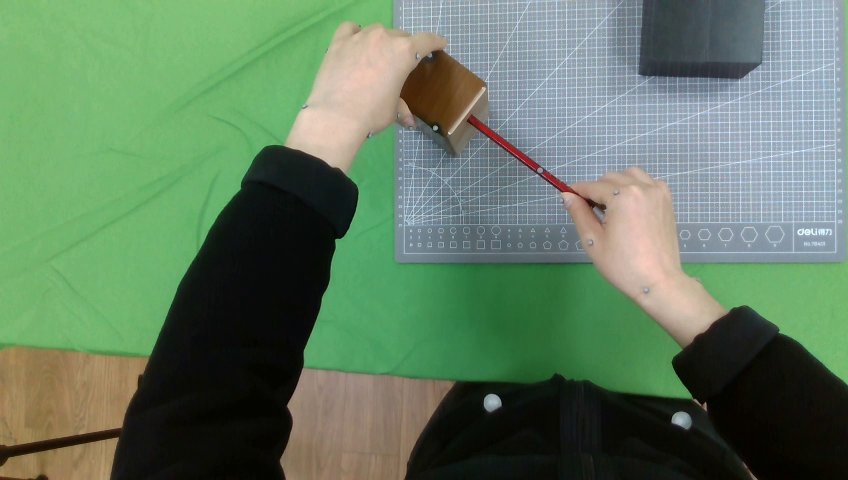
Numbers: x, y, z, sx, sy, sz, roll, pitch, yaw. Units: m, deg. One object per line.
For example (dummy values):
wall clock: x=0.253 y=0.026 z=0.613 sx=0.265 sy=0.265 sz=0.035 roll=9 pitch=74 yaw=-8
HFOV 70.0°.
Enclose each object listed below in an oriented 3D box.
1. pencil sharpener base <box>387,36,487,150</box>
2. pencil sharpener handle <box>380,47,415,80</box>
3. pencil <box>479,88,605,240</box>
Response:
pencil sharpener base: x=0.014 y=-0.139 z=0.586 sx=0.076 sy=0.107 sz=0.061 roll=40 pitch=94 yaw=6
pencil sharpener handle: x=-0.029 y=-0.169 z=0.578 sx=0.030 sy=0.068 sz=0.036 roll=40 pitch=79 yaw=6
pencil: x=0.098 y=-0.076 z=0.541 sx=0.012 sy=0.012 sz=0.194 roll=-39 pitch=90 yaw=5
